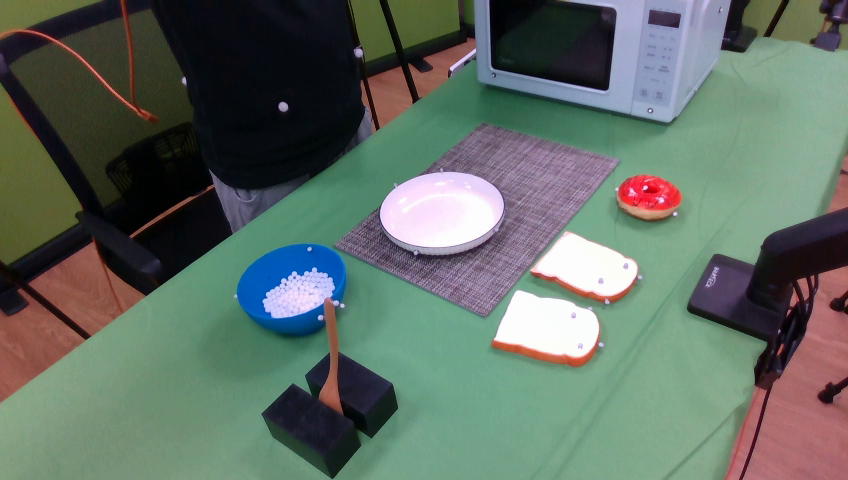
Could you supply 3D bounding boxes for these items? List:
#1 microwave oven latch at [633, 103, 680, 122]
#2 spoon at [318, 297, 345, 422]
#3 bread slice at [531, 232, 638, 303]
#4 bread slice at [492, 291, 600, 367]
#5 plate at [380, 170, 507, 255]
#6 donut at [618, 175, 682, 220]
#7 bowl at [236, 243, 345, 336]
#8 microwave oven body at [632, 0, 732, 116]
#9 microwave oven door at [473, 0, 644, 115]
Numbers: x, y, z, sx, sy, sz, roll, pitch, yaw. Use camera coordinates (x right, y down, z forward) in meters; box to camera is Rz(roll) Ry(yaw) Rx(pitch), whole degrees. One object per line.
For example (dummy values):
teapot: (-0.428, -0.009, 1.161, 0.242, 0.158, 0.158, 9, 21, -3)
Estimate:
microwave oven latch: (0.443, -0.249, 1.158, 0.078, 0.029, 0.030, 21, 49, 30)
spoon: (-0.107, 0.139, 0.688, 0.041, 0.194, 0.022, 26, 37, 31)
bread slice: (0.242, 0.042, 0.889, 0.133, 0.018, 0.107, 21, 48, 31)
bread slice: (0.169, 0.118, 0.811, 0.131, 0.019, 0.105, 11, 44, 21)
plate: (0.033, -0.042, 0.995, 0.207, 0.039, 0.206, -4, 40, 4)
donut: (0.366, -0.070, 0.982, 0.099, 0.048, 0.098, -3, 39, 3)
bowl: (-0.180, 0.082, 0.855, 0.151, 0.077, 0.150, -4, 41, 4)
microwave oven body: (0.377, -0.463, 1.267, 0.438, 0.261, 0.327, 21, 49, 30)
microwave oven door: (0.257, -0.396, 1.199, 0.353, 0.245, 0.039, 21, 48, 29)
